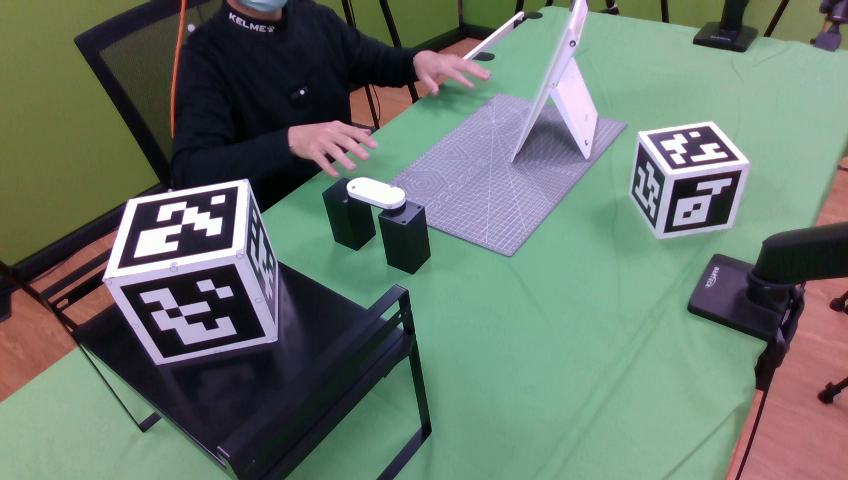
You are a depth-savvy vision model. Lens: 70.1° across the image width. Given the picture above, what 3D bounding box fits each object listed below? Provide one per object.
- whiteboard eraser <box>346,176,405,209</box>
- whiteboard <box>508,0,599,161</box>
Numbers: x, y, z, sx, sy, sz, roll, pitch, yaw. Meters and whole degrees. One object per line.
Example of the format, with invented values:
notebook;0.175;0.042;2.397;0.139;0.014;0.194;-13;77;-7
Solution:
whiteboard eraser;-0.073;-0.072;0.909;0.100;0.019;0.041;20;49;29
whiteboard;0.285;-0.289;1.088;0.144;0.305;0.217;22;45;3
